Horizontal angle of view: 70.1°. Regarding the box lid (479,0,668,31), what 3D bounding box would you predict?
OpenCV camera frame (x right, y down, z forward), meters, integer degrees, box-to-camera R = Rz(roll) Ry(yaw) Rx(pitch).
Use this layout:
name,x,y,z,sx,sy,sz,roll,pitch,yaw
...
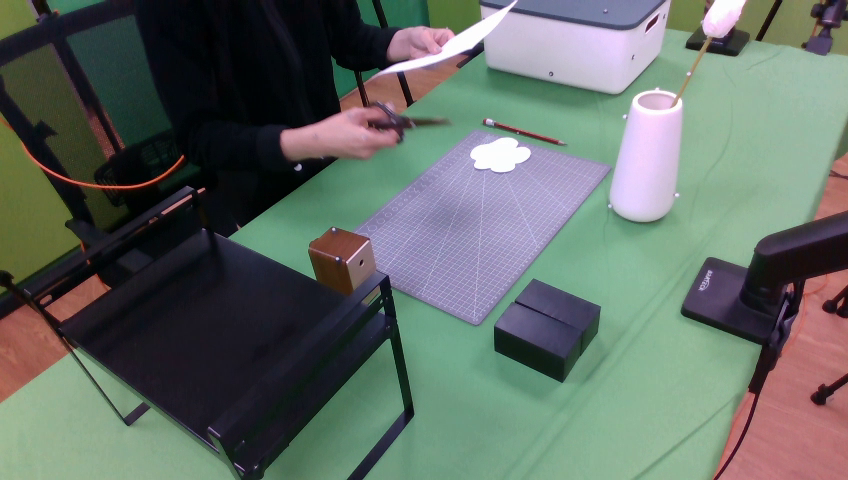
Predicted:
name,x,y,z,sx,sy,sz,roll,pitch,yaw
box lid,0.335,-0.536,1.331,0.368,0.015,0.264,23,49,30

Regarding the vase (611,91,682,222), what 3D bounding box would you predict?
name,x,y,z,sx,sy,sz,roll,pitch,yaw
vase,0.348,-0.125,0.935,0.098,0.201,0.097,-3,40,3

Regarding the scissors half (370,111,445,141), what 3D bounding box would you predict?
name,x,y,z,sx,sy,sz,roll,pitch,yaw
scissors half,-0.023,-0.164,0.851,0.013,0.040,0.174,-47,24,-25

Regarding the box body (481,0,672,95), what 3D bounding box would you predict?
name,x,y,z,sx,sy,sz,roll,pitch,yaw
box body,0.341,-0.480,1.381,0.361,0.161,0.255,22,48,30

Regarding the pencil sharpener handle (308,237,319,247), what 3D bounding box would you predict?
name,x,y,z,sx,sy,sz,roll,pitch,yaw
pencil sharpener handle,-0.158,0.018,0.892,0.030,0.068,0.036,18,60,28

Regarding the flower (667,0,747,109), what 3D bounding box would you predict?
name,x,y,z,sx,sy,sz,roll,pitch,yaw
flower,0.354,-0.187,0.879,0.038,0.362,0.044,30,48,14

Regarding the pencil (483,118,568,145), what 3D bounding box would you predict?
name,x,y,z,sx,sy,sz,roll,pitch,yaw
pencil,0.201,-0.217,1.212,0.192,0.012,0.012,24,49,29

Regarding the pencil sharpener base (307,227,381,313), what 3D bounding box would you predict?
name,x,y,z,sx,sy,sz,roll,pitch,yaw
pencil sharpener base,-0.116,0.043,0.875,0.076,0.107,0.061,18,47,28

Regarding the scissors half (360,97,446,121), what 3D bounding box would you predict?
name,x,y,z,sx,sy,sz,roll,pitch,yaw
scissors half,-0.033,-0.179,0.841,0.173,0.040,0.013,16,59,43
